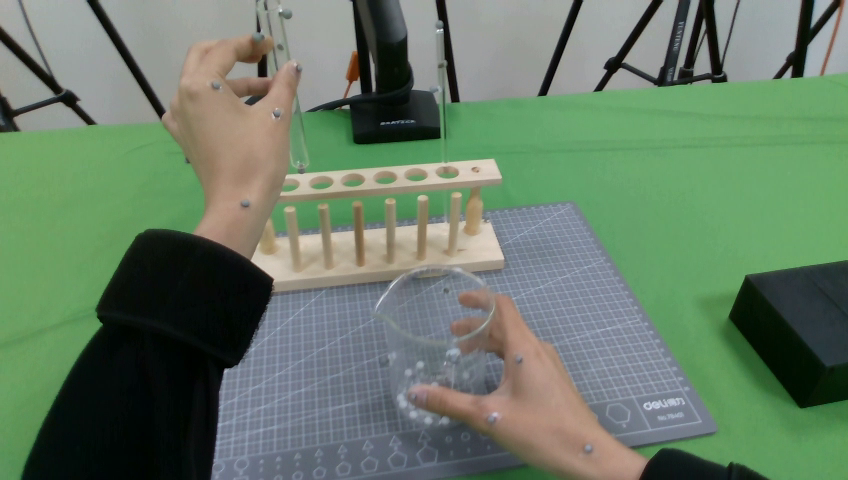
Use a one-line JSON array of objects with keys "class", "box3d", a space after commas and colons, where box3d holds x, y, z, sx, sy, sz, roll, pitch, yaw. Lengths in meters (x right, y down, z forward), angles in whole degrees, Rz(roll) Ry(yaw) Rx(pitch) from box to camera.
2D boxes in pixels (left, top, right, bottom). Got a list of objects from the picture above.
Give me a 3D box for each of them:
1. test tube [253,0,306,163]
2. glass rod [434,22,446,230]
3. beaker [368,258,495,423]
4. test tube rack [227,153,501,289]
[{"class": "test tube", "box3d": [-0.102, -0.109, 0.438, 0.017, 0.151, 0.017, 1, 55, -2]}, {"class": "glass rod", "box3d": [0.015, -0.095, 0.553, 0.008, 0.201, 0.008, -2, 33, 2]}, {"class": "beaker", "box3d": [0.005, 0.075, 0.428, 0.084, 0.101, 0.073, -5, 39, -5]}, {"class": "test tube rack", "box3d": [-0.051, -0.019, 0.564, 0.243, 0.086, 0.066, -5, 40, -7]}]
